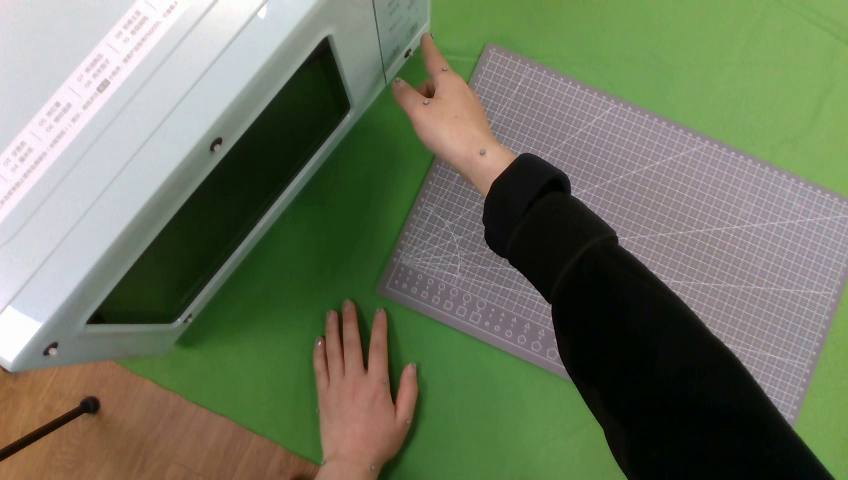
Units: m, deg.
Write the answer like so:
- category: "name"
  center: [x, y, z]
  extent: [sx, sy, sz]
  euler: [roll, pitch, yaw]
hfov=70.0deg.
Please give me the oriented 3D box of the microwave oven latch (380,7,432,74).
- category: "microwave oven latch"
  center: [-0.024, -0.212, 0.627]
  extent: [0.030, 0.029, 0.079]
  euler: [40, 85, 3]

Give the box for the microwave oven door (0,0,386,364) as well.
- category: "microwave oven door"
  center: [-0.162, -0.054, 0.506]
  extent: [0.039, 0.244, 0.355]
  euler: [38, 84, 4]

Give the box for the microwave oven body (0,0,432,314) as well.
- category: "microwave oven body"
  center: [-0.250, -0.176, 0.523]
  extent: [0.325, 0.260, 0.441]
  euler: [38, 85, 3]
